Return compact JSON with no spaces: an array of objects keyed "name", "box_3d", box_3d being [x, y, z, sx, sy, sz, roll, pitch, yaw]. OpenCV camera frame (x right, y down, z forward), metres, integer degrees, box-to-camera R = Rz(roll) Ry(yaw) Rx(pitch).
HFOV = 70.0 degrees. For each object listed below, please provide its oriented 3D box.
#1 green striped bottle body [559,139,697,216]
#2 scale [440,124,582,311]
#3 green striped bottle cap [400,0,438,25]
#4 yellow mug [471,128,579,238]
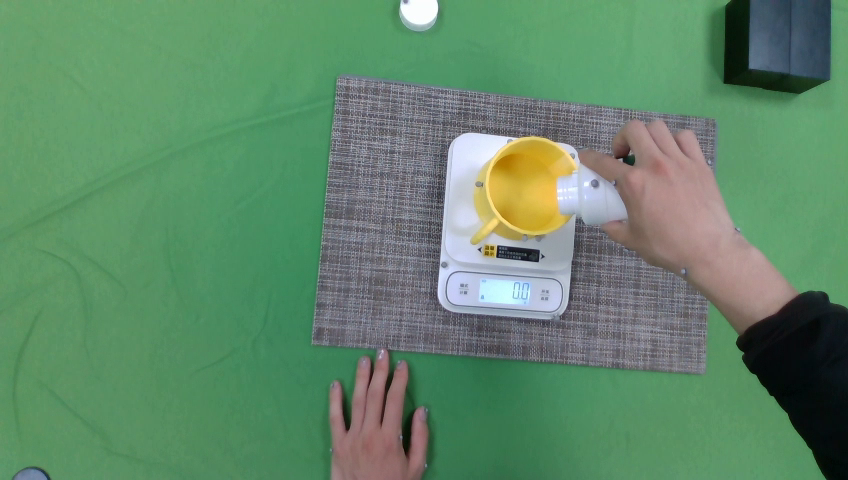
[{"name":"green striped bottle body","box_3d":[0.188,-0.056,0.568,0.119,0.063,0.063,-5,86,18]},{"name":"scale","box_3d":[0.097,-0.024,0.675,0.149,0.031,0.200,5,86,-5]},{"name":"green striped bottle cap","box_3d":[-0.006,-0.271,0.694,0.044,0.020,0.044,0,89,-5]},{"name":"yellow mug","box_3d":[0.096,-0.049,0.629,0.100,0.064,0.131,45,84,-1]}]
